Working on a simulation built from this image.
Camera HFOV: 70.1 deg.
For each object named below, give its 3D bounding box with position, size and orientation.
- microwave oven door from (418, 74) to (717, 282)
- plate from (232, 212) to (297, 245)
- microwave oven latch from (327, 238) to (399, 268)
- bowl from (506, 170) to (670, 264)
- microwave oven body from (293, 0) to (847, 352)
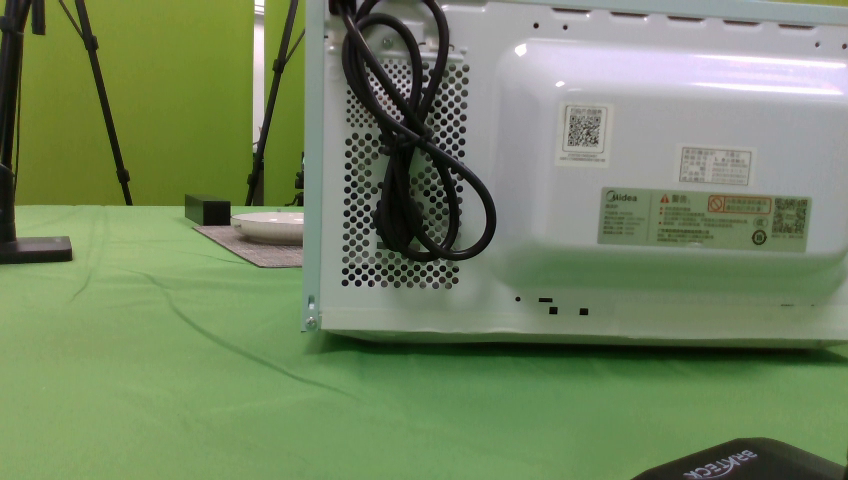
[{"bbox_3d":[0.167,-0.086,0.771,0.355,0.243,0.039,5,9,20],"label":"microwave oven door"},{"bbox_3d":[-0.214,-0.019,1.018,0.208,0.039,0.207,2,7,0],"label":"plate"},{"bbox_3d":[-0.070,0.015,0.694,0.079,0.029,0.030,3,7,-3],"label":"microwave oven latch"},{"bbox_3d":[0.152,-0.023,0.577,0.151,0.077,0.151,1,11,0],"label":"bowl"},{"bbox_3d":[0.122,-0.055,0.550,0.442,0.260,0.325,3,7,-5],"label":"microwave oven body"}]
